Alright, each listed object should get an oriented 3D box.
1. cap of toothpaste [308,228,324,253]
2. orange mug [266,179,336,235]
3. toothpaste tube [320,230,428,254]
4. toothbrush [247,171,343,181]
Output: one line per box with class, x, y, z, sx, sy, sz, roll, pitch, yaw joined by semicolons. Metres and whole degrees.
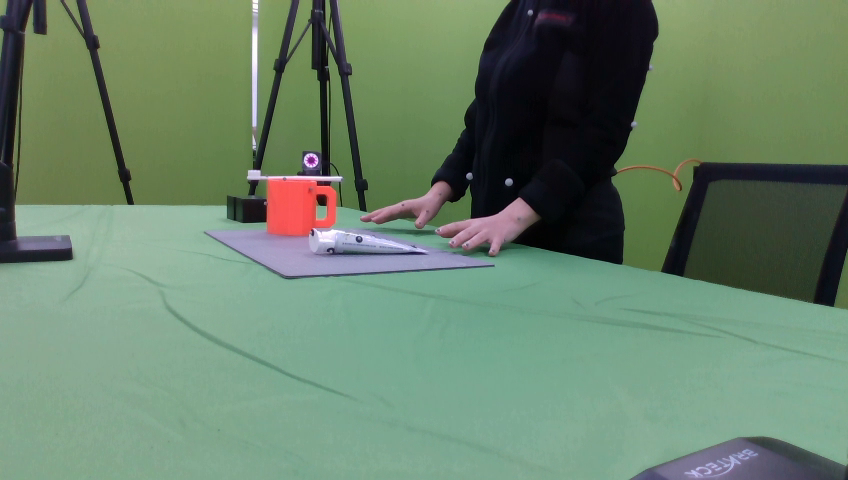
cap of toothpaste;-0.153;0.001;0.857;0.011;0.037;0.037;-5;10;-36
orange mug;-0.222;-0.062;1.094;0.127;0.101;0.083;-5;10;-22
toothpaste tube;-0.078;0.006;0.891;0.166;0.034;0.055;4;11;-26
toothbrush;-0.230;-0.115;1.092;0.183;0.016;0.014;-2;5;-35
